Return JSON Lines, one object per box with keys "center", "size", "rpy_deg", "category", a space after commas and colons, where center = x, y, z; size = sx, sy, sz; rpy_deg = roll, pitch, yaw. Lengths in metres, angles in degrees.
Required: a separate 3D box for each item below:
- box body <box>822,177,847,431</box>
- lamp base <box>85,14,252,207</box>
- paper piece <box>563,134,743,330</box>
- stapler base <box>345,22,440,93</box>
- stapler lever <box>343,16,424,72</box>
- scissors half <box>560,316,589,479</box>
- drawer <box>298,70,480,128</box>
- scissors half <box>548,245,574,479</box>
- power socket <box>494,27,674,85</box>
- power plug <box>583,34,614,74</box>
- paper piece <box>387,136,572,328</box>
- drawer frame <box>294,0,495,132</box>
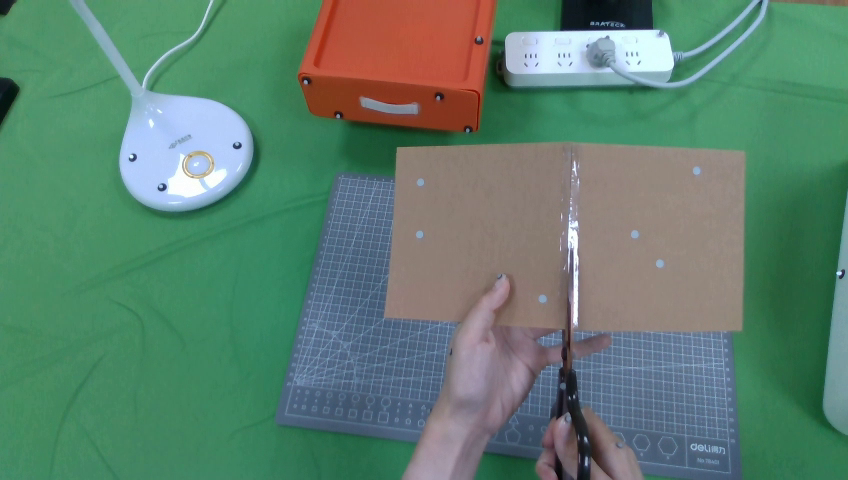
{"center": [0.544, 0.034, 0.557], "size": [0.253, 0.161, 0.362], "rpy_deg": [18, 66, 11], "category": "box body"}
{"center": [-0.303, -0.151, 0.675], "size": [0.178, 0.182, 0.160], "rpy_deg": [37, 71, 22], "category": "lamp base"}
{"center": [0.168, -0.004, 0.437], "size": [0.136, 0.004, 0.135], "rpy_deg": [3, 90, -8], "category": "paper piece"}
{"center": [-0.041, -0.223, 0.724], "size": [0.129, 0.024, 0.041], "rpy_deg": [35, 87, 20], "category": "stapler base"}
{"center": [-0.049, -0.230, 0.700], "size": [0.117, 0.040, 0.027], "rpy_deg": [35, 87, 22], "category": "stapler lever"}
{"center": [0.101, 0.087, 0.415], "size": [0.013, 0.040, 0.174], "rpy_deg": [3, 66, -2], "category": "scissors half"}
{"center": [-0.023, -0.241, 0.713], "size": [0.194, 0.074, 0.210], "rpy_deg": [7, 64, 7], "category": "drawer"}
{"center": [0.101, 0.090, 0.439], "size": [0.013, 0.040, 0.175], "rpy_deg": [3, 101, 2], "category": "scissors half"}
{"center": [0.205, -0.236, 0.776], "size": [0.227, 0.033, 0.071], "rpy_deg": [0, 65, 3], "category": "power socket"}
{"center": [0.212, -0.220, 0.742], "size": [0.035, 0.053, 0.072], "rpy_deg": [10, 65, 7], "category": "power plug"}
{"center": [0.039, -0.007, 0.450], "size": [0.135, 0.009, 0.138], "rpy_deg": [2, 89, 19], "category": "paper piece"}
{"center": [-0.025, -0.244, 0.714], "size": [0.201, 0.083, 0.212], "rpy_deg": [7, 64, 6], "category": "drawer frame"}
